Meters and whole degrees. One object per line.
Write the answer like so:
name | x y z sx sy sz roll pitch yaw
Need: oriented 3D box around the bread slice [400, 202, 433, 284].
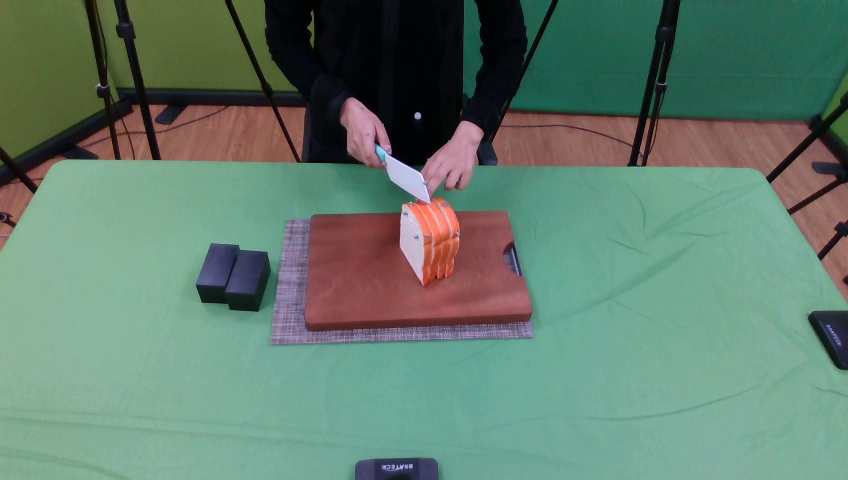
bread slice | -0.015 -0.002 1.082 0.018 0.135 0.106 -19 47 -20

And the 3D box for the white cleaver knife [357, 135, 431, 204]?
white cleaver knife | -0.060 -0.128 1.078 0.021 0.066 0.284 -22 31 -18

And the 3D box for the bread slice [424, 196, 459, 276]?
bread slice | 0.031 -0.013 1.098 0.019 0.132 0.104 -15 51 -24
